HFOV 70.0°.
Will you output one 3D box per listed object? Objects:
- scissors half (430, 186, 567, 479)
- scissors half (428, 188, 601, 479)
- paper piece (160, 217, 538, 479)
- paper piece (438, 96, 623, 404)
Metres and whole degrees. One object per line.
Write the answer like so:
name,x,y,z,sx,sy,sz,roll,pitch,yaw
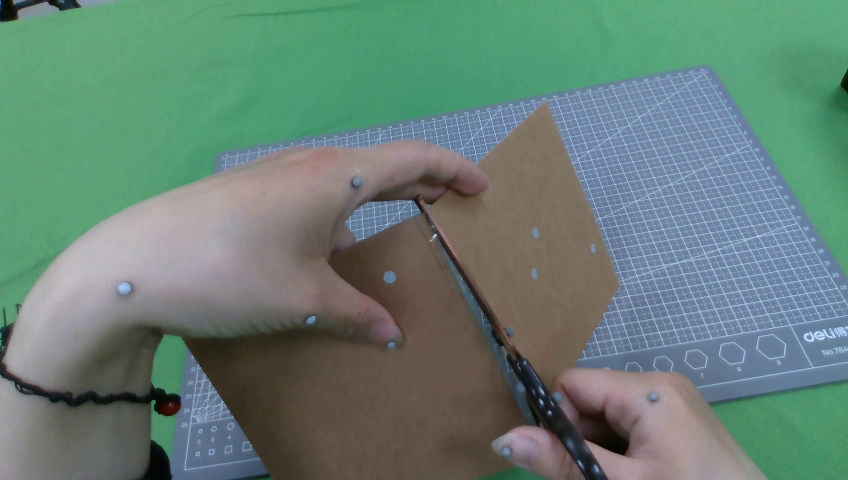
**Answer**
scissors half,0.043,0.052,0.287,0.013,0.176,0.040,-27,15,2
scissors half,0.044,0.054,0.267,0.013,0.040,0.175,-28,86,-4
paper piece,-0.031,0.076,0.301,0.138,0.137,0.008,-28,17,1
paper piece,0.071,0.007,0.335,0.004,0.136,0.135,-6,28,42
